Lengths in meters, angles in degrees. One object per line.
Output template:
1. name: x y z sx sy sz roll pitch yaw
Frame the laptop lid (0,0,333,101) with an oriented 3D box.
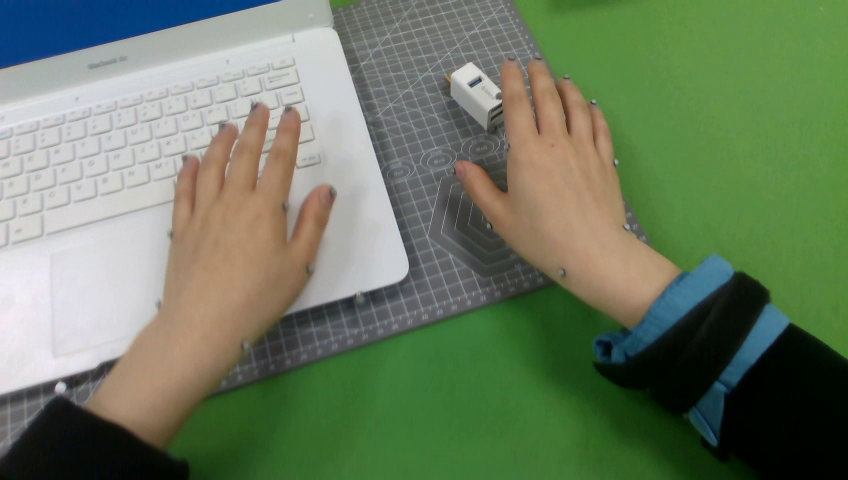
1. laptop lid: -0.260 -0.219 0.409 0.357 0.244 0.013 -17 38 -4

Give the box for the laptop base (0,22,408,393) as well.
1. laptop base: -0.208 -0.027 0.430 0.354 0.023 0.233 -16 66 -5

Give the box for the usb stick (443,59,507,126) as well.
1. usb stick: 0.036 -0.115 0.456 0.021 0.027 0.058 -35 64 -13
